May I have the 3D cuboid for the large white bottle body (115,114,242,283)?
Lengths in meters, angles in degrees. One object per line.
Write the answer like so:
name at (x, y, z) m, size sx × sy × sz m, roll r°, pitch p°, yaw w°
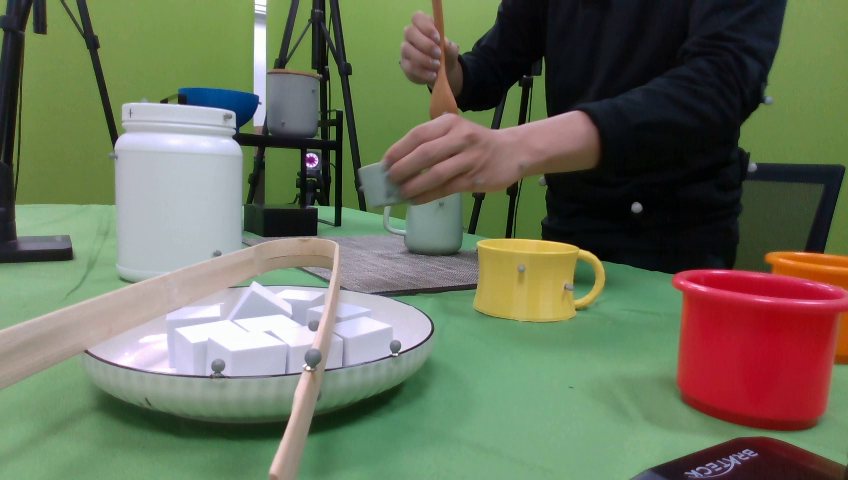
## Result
large white bottle body at (-0.270, -0.051, 0.673) m, size 0.131 × 0.184 × 0.130 m, roll 2°, pitch 8°, yaw 0°

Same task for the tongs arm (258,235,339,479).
tongs arm at (-0.074, 0.040, 0.345) m, size 0.051 × 0.026 × 0.384 m, roll -1°, pitch 10°, yaw -3°

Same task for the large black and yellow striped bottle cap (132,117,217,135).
large black and yellow striped bottle cap at (-0.359, -0.164, 0.875) m, size 0.115 × 0.019 × 0.115 m, roll 2°, pitch 6°, yaw 0°

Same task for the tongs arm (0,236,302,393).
tongs arm at (-0.157, 0.038, 0.347) m, size 0.028 × 0.028 × 0.388 m, roll -3°, pitch 8°, yaw 11°

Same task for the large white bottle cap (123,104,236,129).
large white bottle cap at (-0.266, -0.135, 0.663) m, size 0.115 × 0.018 × 0.115 m, roll 3°, pitch 7°, yaw 0°

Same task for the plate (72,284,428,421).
plate at (-0.102, 0.067, 0.381) m, size 0.208 × 0.039 × 0.207 m, roll 2°, pitch 7°, yaw 0°

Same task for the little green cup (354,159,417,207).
little green cup at (-0.035, -0.054, 0.585) m, size 0.061 × 0.038 × 0.061 m, roll -8°, pitch 1°, yaw 1°

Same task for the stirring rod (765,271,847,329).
stirring rod at (0.351, 0.020, 0.481) m, size 0.176 × 0.006 × 0.014 m, roll -40°, pitch -7°, yaw 17°

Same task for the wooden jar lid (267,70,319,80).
wooden jar lid at (-0.275, -0.339, 1.271) m, size 0.108 × 0.020 × 0.108 m, roll 5°, pitch 6°, yaw 0°

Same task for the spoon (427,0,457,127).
spoon at (0.016, -0.238, 0.756) m, size 0.041 × 0.193 × 0.022 m, roll 2°, pitch 15°, yaw 29°

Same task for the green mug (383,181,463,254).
green mug at (-0.001, -0.036, 0.922) m, size 0.126 × 0.105 × 0.092 m, roll 0°, pitch 8°, yaw -16°

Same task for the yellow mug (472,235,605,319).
yellow mug at (0.114, 0.034, 0.590) m, size 0.131 × 0.064 × 0.100 m, roll 3°, pitch 7°, yaw -8°

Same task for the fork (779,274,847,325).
fork at (0.332, 0.018, 0.443) m, size 0.028 × 0.018 × 0.207 m, roll -3°, pitch -35°, yaw -16°

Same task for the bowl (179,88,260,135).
bowl at (-0.400, -0.248, 1.188) m, size 0.151 × 0.077 × 0.151 m, roll 2°, pitch 6°, yaw 0°

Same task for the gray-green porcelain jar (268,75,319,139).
gray-green porcelain jar at (-0.277, -0.278, 1.280) m, size 0.106 × 0.126 × 0.106 m, roll 2°, pitch 8°, yaw 0°

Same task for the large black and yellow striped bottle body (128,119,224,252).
large black and yellow striped bottle body at (-0.361, -0.081, 0.887) m, size 0.131 × 0.184 × 0.130 m, roll 2°, pitch 8°, yaw 0°
